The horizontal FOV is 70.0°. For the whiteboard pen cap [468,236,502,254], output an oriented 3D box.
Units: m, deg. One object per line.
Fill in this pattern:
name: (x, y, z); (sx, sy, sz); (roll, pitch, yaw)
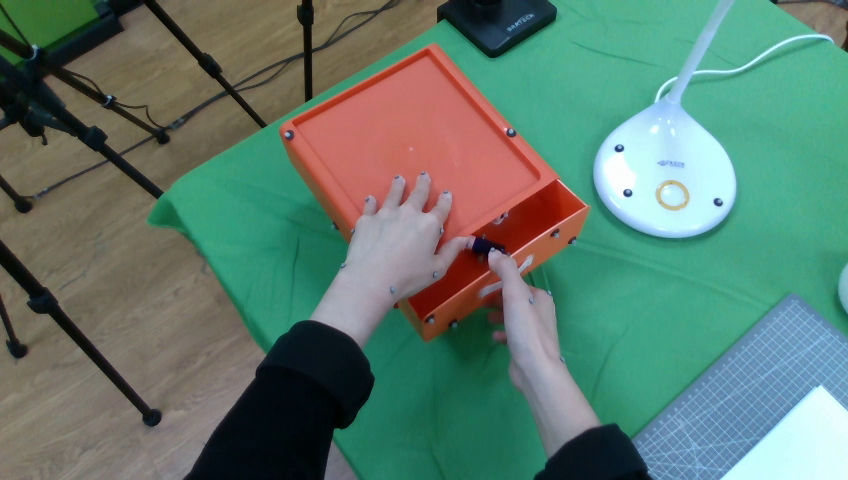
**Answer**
whiteboard pen cap: (0.061, 0.001, 0.607); (0.033, 0.018, 0.018); (17, 65, 6)

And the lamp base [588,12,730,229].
lamp base: (0.267, -0.130, 0.638); (0.161, 0.182, 0.177); (-5, 61, -1)

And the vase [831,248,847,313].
vase: (0.467, 0.011, 0.553); (0.098, 0.201, 0.097); (-1, 62, 2)

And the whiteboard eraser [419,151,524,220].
whiteboard eraser: (0.050, -0.059, 0.653); (0.111, 0.042, 0.055); (21, 73, 43)

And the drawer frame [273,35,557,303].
drawer frame: (-0.012, -0.077, 0.626); (0.201, 0.083, 0.212); (-33, 70, -14)

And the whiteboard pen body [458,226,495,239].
whiteboard pen body: (0.004, -0.021, 0.611); (0.140, 0.017, 0.017); (17, 65, 9)

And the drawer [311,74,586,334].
drawer: (0.016, -0.045, 0.606); (0.194, 0.074, 0.210); (-33, 68, -13)
